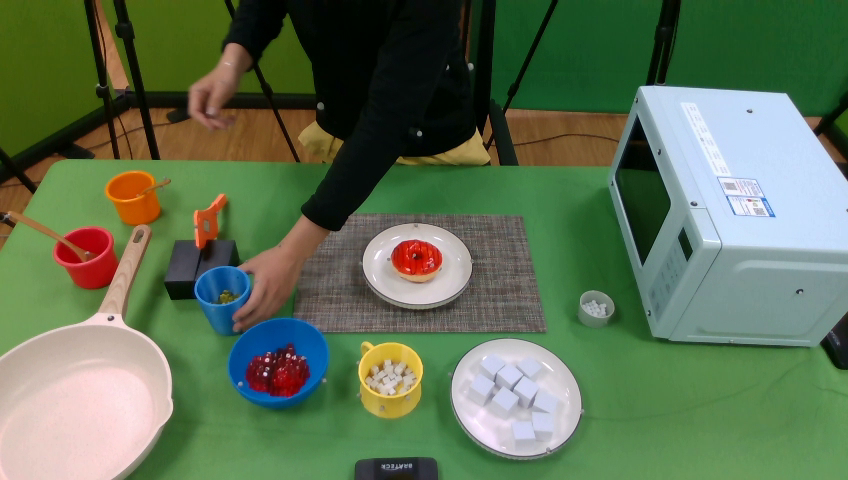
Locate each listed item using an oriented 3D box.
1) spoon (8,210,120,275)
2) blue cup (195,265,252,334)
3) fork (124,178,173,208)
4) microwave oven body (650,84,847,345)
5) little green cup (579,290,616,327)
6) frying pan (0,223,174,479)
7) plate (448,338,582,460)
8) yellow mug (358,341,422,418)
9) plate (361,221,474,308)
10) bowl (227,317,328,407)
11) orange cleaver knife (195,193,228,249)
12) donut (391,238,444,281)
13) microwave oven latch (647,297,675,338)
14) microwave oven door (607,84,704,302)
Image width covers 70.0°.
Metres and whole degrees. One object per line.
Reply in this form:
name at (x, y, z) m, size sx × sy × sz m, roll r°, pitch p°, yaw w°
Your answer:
spoon at (-0.628, 0.002, 1.063) m, size 0.195 × 0.021 × 0.041 m, roll 40°, pitch 41°, yaw -27°
blue cup at (-0.328, 0.106, 1.015) m, size 0.093 × 0.101 × 0.092 m, roll 3°, pitch 46°, yaw -2°
fork at (-0.525, -0.089, 1.153) m, size 0.207 × 0.019 × 0.028 m, roll -17°, pitch 25°, yaw 45°
microwave oven body at (0.569, -0.054, 1.115) m, size 0.326 × 0.261 × 0.439 m, roll 2°, pitch 46°, yaw -1°
little green cup at (0.308, 0.124, 1.086) m, size 0.061 × 0.039 × 0.061 m, roll 1°, pitch 45°, yaw -1°
frying pan at (-0.505, 0.169, 0.940) m, size 0.307 × 0.103 × 0.485 m, roll 5°, pitch 54°, yaw -1°
plate at (0.141, 0.251, 0.955) m, size 0.208 × 0.039 × 0.206 m, roll 2°, pitch 46°, yaw -2°
yellow mug at (-0.063, 0.210, 0.961) m, size 0.100 × 0.064 × 0.130 m, roll -29°, pitch 54°, yaw -27°
plate at (-0.011, 0.049, 1.130) m, size 0.209 × 0.038 × 0.208 m, roll 2°, pitch 46°, yaw -2°
bowl at (-0.222, 0.203, 0.947) m, size 0.151 × 0.077 × 0.150 m, roll 2°, pitch 46°, yaw -2°
orange cleaver knife at (-0.406, -0.041, 1.163) m, size 0.012 × 0.077 × 0.210 m, roll 0°, pitch 17°, yaw -4°
donut at (-0.012, 0.035, 1.128) m, size 0.099 × 0.048 × 0.098 m, roll 3°, pitch 43°, yaw -3°
microwave oven latch at (0.413, 0.133, 1.060) m, size 0.030 × 0.029 × 0.078 m, roll 5°, pitch 46°, yaw 2°
microwave oven door at (0.423, -0.096, 1.137) m, size 0.039 × 0.245 × 0.353 m, roll 2°, pitch 46°, yaw -1°
